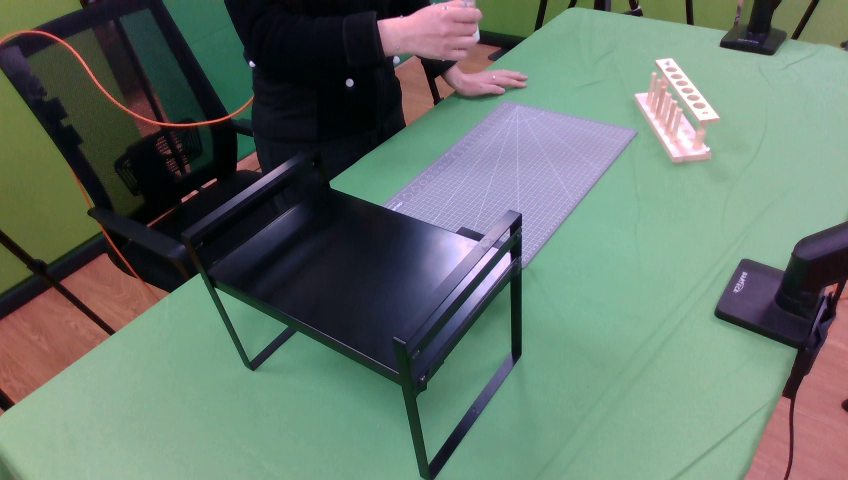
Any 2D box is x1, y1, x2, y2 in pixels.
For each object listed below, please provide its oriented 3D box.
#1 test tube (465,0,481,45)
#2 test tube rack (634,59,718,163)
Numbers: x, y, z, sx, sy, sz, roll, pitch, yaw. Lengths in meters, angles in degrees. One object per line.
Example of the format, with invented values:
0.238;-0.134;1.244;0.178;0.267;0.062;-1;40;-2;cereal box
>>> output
0.076;-0.343;0.941;0.017;0.151;0.017;-1;81;9;test tube
0.470;-0.250;1.148;0.067;0.085;0.241;-6;40;3;test tube rack
